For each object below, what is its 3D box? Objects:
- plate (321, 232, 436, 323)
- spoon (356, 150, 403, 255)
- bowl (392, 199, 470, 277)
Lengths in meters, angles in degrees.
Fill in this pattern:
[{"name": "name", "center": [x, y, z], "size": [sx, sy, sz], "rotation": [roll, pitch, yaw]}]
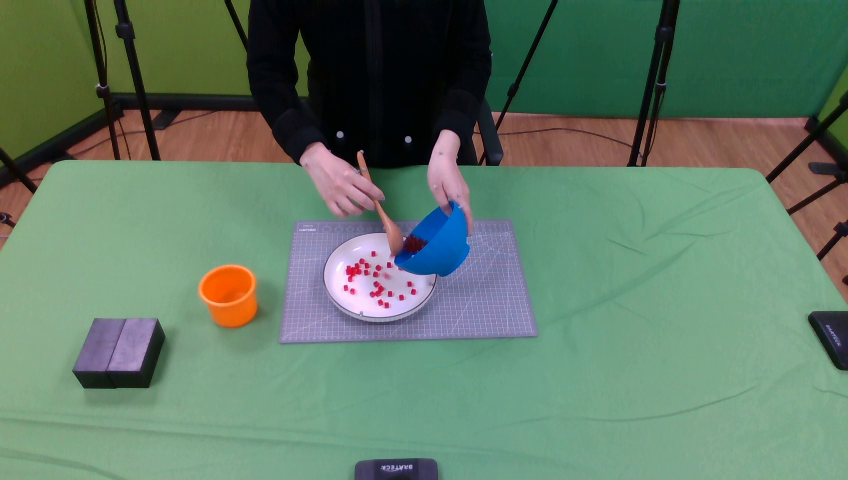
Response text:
[{"name": "plate", "center": [-0.083, 0.070, 1.109], "size": [0.209, 0.038, 0.208], "rotation": [3, 46, -3]}, {"name": "spoon", "center": [-0.078, -0.061, 1.027], "size": [0.021, 0.194, 0.041], "rotation": [-9, 23, 40]}, {"name": "bowl", "center": [0.025, 0.011, 1.038], "size": [0.077, 0.151, 0.151], "rotation": [44, 48, -14]}]
